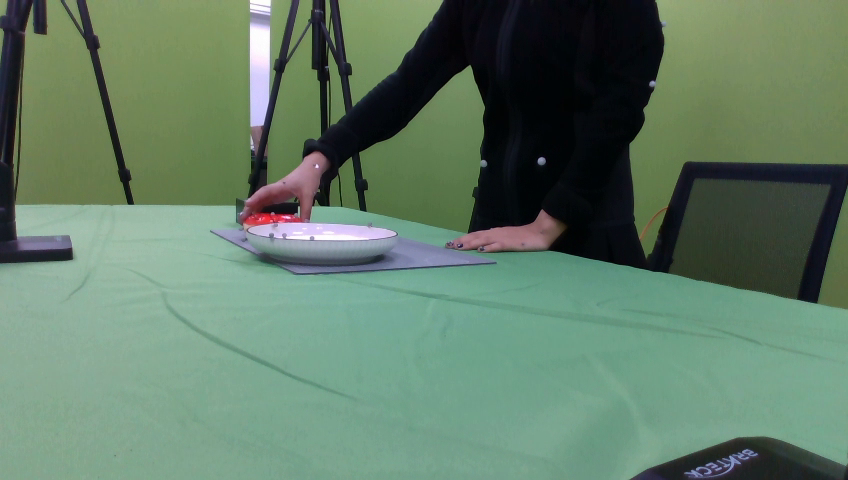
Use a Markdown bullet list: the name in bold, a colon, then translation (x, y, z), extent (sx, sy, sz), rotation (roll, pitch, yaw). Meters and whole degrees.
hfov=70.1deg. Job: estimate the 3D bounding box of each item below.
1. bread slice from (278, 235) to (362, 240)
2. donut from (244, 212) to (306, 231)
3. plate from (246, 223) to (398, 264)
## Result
- **bread slice**: translation (-0.139, 0.007, 0.839), extent (0.132, 0.019, 0.104), rotation (-2, 8, -35)
- **donut**: translation (-0.245, -0.022, 0.997), extent (0.099, 0.048, 0.099), rotation (2, 5, 0)
- **plate**: translation (-0.140, 0.004, 0.847), extent (0.209, 0.038, 0.209), rotation (2, 7, 0)
